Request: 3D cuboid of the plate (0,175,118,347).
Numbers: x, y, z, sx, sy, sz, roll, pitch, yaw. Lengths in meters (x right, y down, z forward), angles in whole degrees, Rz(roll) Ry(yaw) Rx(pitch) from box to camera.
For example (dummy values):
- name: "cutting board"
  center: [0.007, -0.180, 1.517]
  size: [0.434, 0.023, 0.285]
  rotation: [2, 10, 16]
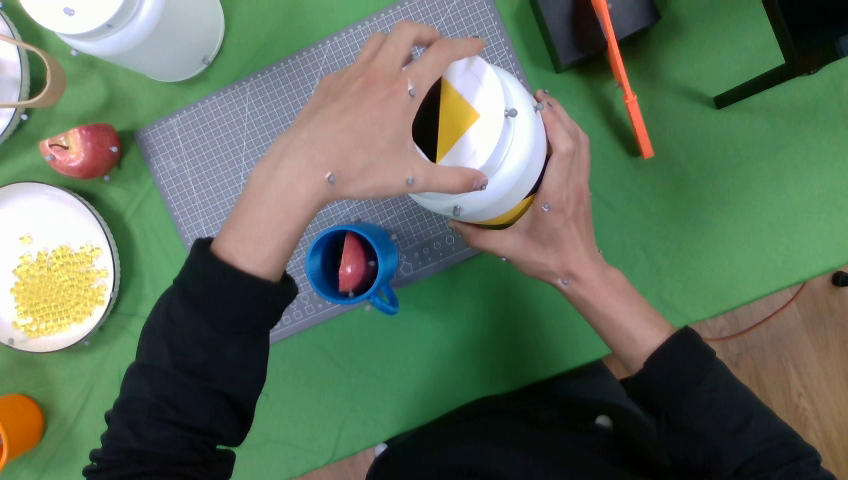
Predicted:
- name: "plate"
  center: [-0.468, 0.025, 0.736]
  size: [0.209, 0.038, 0.209]
  rotation: [0, 96, 5]

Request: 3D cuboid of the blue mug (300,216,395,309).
- name: "blue mug"
  center: [-0.071, 0.028, 0.667]
  size: [0.082, 0.106, 0.116]
  rotation: [-39, 91, 7]

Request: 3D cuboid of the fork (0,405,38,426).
- name: "fork"
  center: [-0.573, 0.232, 0.707]
  size: [0.208, 0.018, 0.028]
  rotation: [-9, 94, -38]

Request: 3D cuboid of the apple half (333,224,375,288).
- name: "apple half"
  center: [-0.069, 0.018, 0.661]
  size: [0.032, 0.081, 0.081]
  rotation: [11, 96, 12]

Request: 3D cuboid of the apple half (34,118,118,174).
- name: "apple half"
  center: [-0.394, -0.104, 0.701]
  size: [0.081, 0.074, 0.053]
  rotation: [-19, 96, 2]

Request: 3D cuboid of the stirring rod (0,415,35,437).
- name: "stirring rod"
  center: [-0.557, 0.246, 0.709]
  size: [0.177, 0.006, 0.014]
  rotation: [-17, 81, -34]

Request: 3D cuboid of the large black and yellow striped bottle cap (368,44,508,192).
- name: "large black and yellow striped bottle cap"
  center: [0.008, -0.094, 0.468]
  size: [0.114, 0.019, 0.114]
  rotation: [-4, 82, 27]

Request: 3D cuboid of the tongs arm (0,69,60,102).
- name: "tongs arm"
  center: [-0.606, -0.182, 0.696]
  size: [0.384, 0.026, 0.051]
  rotation: [5, 92, 6]

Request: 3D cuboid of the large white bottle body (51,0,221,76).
- name: "large white bottle body"
  center: [-0.308, -0.252, 0.624]
  size: [0.130, 0.184, 0.130]
  rotation: [0, 94, 5]

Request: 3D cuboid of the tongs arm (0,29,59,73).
- name: "tongs arm"
  center: [-0.592, -0.264, 0.689]
  size: [0.387, 0.028, 0.028]
  rotation: [19, 90, 5]

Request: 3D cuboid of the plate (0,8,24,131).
- name: "plate"
  center: [-0.572, -0.207, 0.723]
  size: [0.207, 0.039, 0.208]
  rotation: [0, 95, 5]

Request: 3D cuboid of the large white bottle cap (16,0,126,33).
- name: "large white bottle cap"
  center: [-0.317, -0.245, 0.540]
  size: [0.115, 0.018, 0.115]
  rotation: [0, 95, 5]

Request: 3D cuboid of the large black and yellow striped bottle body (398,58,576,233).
- name: "large black and yellow striped bottle body"
  center: [0.049, -0.082, 0.541]
  size: [0.130, 0.185, 0.130]
  rotation: [-5, 80, 29]

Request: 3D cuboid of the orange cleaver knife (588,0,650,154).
- name: "orange cleaver knife"
  center: [0.200, -0.190, 0.639]
  size: [0.012, 0.076, 0.213]
  rotation: [-21, 119, 15]
